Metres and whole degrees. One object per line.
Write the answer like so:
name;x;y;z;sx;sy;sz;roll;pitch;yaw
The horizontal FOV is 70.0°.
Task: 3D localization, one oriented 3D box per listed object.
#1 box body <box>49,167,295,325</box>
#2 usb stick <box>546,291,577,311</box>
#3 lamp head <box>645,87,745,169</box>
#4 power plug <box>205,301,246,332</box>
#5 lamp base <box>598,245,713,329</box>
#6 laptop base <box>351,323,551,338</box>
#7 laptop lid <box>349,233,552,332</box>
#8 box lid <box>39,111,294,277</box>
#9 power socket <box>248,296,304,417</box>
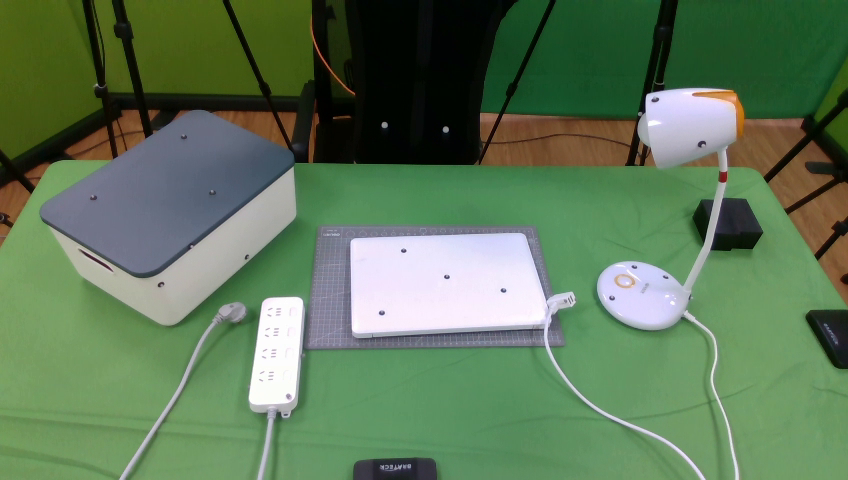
box body;-0.437;-0.046;1.110;0.253;0.161;0.363;24;49;19
usb stick;0.241;0.110;1.086;0.027;0.059;0.021;-36;102;-42
lamp head;0.382;-0.161;0.852;0.122;0.113;0.112;-4;42;25
power plug;-0.337;0.132;1.032;0.072;0.053;0.035;-35;58;-12
lamp base;0.420;0.051;1.071;0.179;0.181;0.160;22;49;13
laptop base;0.040;0.080;1.125;0.355;0.023;0.234;-2;43;-6
laptop lid;0.040;0.070;1.119;0.357;0.013;0.240;-1;44;-5
box lid;-0.434;-0.097;1.055;0.262;0.015;0.370;25;49;18
power socket;-0.240;0.182;0.996;0.072;0.033;0.225;-2;47;-4
